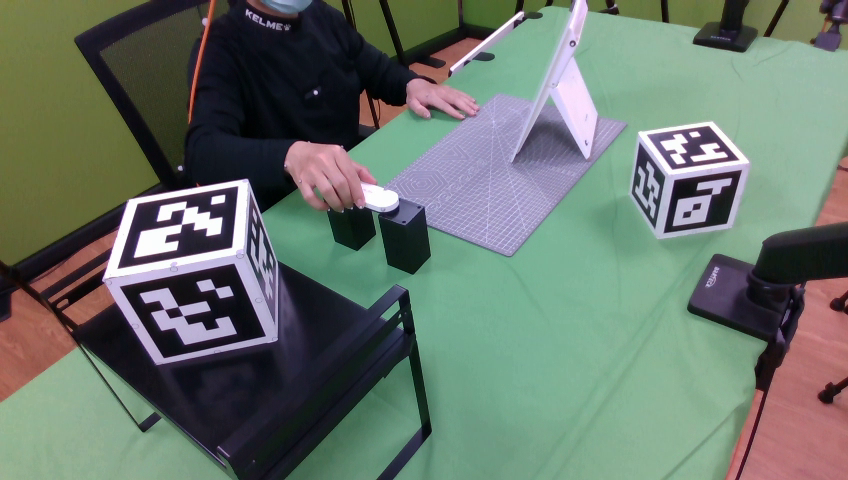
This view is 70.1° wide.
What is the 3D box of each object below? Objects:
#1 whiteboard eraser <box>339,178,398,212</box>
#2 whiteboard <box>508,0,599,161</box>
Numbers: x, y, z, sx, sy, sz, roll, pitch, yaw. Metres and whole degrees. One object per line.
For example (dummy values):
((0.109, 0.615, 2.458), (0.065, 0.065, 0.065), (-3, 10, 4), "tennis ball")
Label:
((-0.083, -0.068, 0.906), (0.100, 0.019, 0.041), (20, 49, 29), "whiteboard eraser")
((0.285, -0.289, 1.088), (0.144, 0.305, 0.217), (22, 45, 3), "whiteboard")
